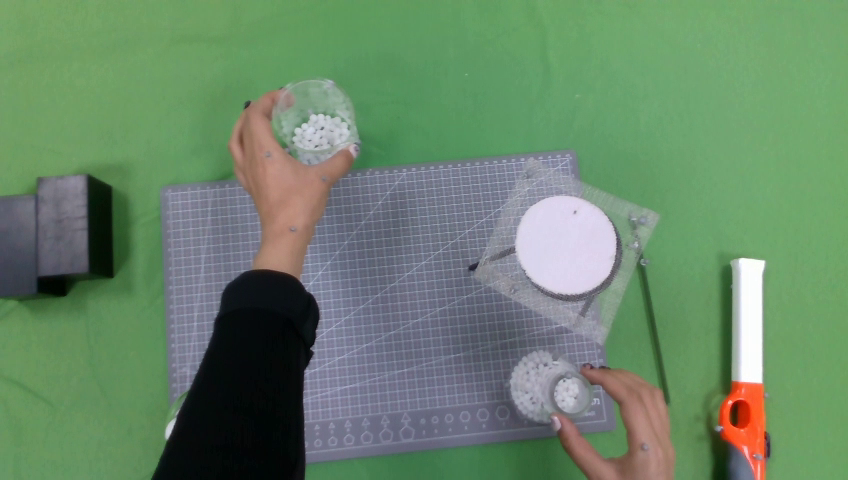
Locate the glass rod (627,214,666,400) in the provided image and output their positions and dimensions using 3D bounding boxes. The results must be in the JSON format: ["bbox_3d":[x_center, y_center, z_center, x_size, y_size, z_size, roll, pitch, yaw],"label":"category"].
[{"bbox_3d":[0.236,0.069,0.643,0.008,0.008,0.199,-7,82,-3],"label":"glass rod"}]

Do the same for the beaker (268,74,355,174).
[{"bbox_3d":[-0.105,-0.109,0.606,0.084,0.100,0.074,27,81,-1],"label":"beaker"}]

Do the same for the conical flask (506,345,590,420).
[{"bbox_3d":[0.122,0.137,0.569,0.075,0.122,0.075,0,81,0],"label":"conical flask"}]

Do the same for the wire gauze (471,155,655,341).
[{"bbox_3d":[0.118,0.004,0.515,0.125,0.011,0.121,26,84,3],"label":"wire gauze"}]

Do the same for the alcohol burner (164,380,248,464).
[{"bbox_3d":[-0.207,0.170,0.560,0.078,0.119,0.077,0,83,0],"label":"alcohol burner"}]

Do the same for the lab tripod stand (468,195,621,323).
[{"bbox_3d":[0.120,0.016,0.581,0.148,0.132,0.148,0,83,0],"label":"lab tripod stand"}]

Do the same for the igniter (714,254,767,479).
[{"bbox_3d":[0.326,0.152,0.623,0.057,0.025,0.275,7,81,-11],"label":"igniter"}]

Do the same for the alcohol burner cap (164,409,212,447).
[{"bbox_3d":[-0.206,0.163,0.525,0.034,0.048,0.033,1,75,-3],"label":"alcohol burner cap"}]
